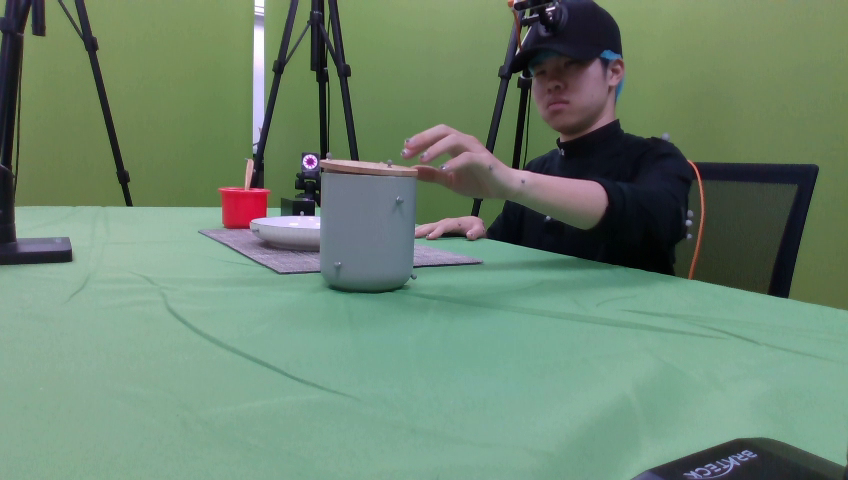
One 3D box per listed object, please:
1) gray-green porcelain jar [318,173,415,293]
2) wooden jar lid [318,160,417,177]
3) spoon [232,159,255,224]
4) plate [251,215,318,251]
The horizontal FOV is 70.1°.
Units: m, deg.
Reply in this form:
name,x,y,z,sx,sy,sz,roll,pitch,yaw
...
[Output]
name,x,y,z,sx,sy,sz,roll,pitch,yaw
gray-green porcelain jar,-0.064,-0.010,0.672,0.106,0.126,0.106,2,7,0
wooden jar lid,-0.063,-0.073,0.665,0.108,0.020,0.108,5,9,0
spoon,-0.356,-0.101,1.218,0.042,0.021,0.193,2,51,-9
plate,-0.170,-0.012,0.971,0.208,0.039,0.207,3,7,0
